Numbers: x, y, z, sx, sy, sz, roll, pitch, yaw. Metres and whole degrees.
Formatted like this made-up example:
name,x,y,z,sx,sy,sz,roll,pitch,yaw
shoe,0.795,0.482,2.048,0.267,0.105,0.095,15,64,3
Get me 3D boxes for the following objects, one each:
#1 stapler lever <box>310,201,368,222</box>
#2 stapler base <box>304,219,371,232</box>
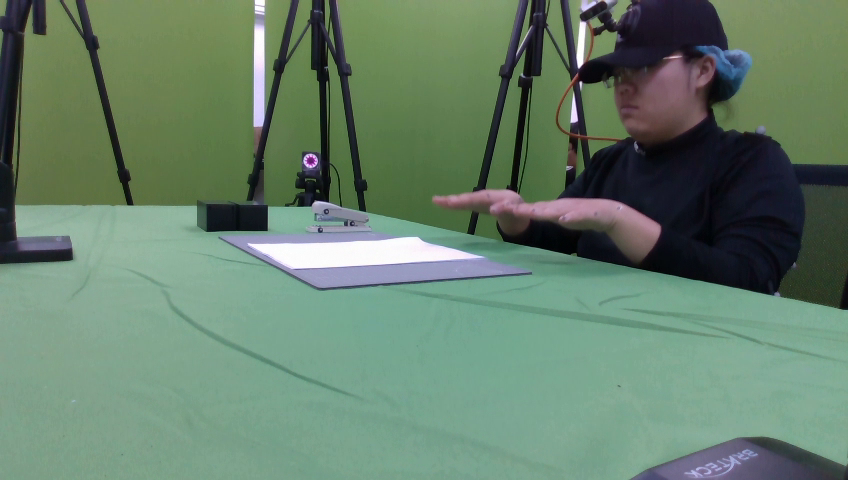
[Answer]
name,x,y,z,sx,sy,sz,roll,pitch,yaw
stapler lever,-0.166,-0.055,1.184,0.119,0.040,0.026,0,9,-33
stapler base,-0.169,-0.030,1.186,0.131,0.024,0.041,0,9,-33
